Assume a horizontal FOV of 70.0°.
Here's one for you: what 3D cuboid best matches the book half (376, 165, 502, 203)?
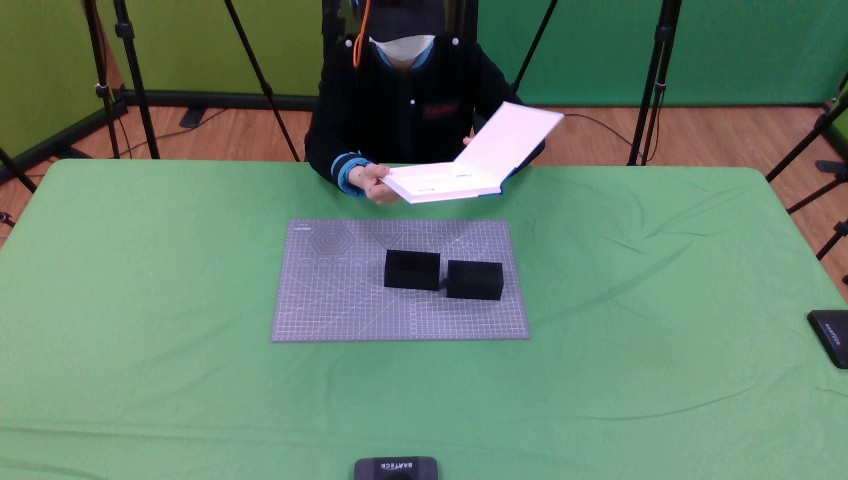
[{"bbox_3d":[0.016,-0.094,0.985,0.149,0.016,0.209,-5,19,-17],"label":"book half"}]

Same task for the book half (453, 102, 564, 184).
[{"bbox_3d":[0.131,-0.166,1.001,0.143,0.007,0.209,-47,24,1],"label":"book half"}]
